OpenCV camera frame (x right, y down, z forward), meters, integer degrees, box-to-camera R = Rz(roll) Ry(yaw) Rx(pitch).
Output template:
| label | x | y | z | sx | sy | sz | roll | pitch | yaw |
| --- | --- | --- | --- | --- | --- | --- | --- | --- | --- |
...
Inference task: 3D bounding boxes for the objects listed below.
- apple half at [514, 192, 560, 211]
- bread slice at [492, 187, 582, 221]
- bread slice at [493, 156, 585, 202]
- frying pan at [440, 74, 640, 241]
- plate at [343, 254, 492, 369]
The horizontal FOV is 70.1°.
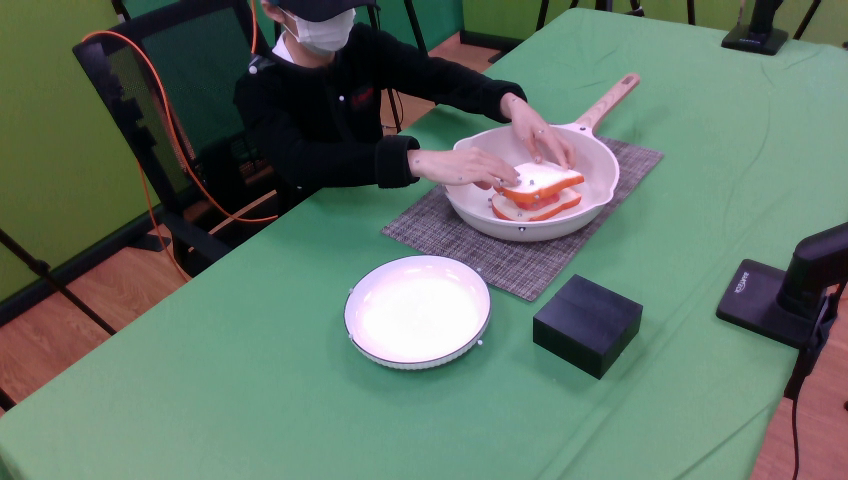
| label | x | y | z | sx | sy | sz | roll | pitch | yaw |
| --- | --- | --- | --- | --- | --- | --- | --- | --- | --- |
| apple half | 0.183 | -0.084 | 1.004 | 0.081 | 0.033 | 0.081 | -3 | 42 | 3 |
| bread slice | 0.183 | -0.066 | 1.017 | 0.135 | 0.018 | 0.106 | -28 | 43 | -23 |
| bread slice | 0.181 | -0.099 | 0.985 | 0.132 | 0.019 | 0.104 | -26 | 36 | -29 |
| frying pan | 0.245 | -0.161 | 1.058 | 0.304 | 0.103 | 0.489 | 30 | 61 | 35 |
| plate | -0.008 | 0.100 | 0.847 | 0.207 | 0.039 | 0.206 | -4 | 40 | 4 |
